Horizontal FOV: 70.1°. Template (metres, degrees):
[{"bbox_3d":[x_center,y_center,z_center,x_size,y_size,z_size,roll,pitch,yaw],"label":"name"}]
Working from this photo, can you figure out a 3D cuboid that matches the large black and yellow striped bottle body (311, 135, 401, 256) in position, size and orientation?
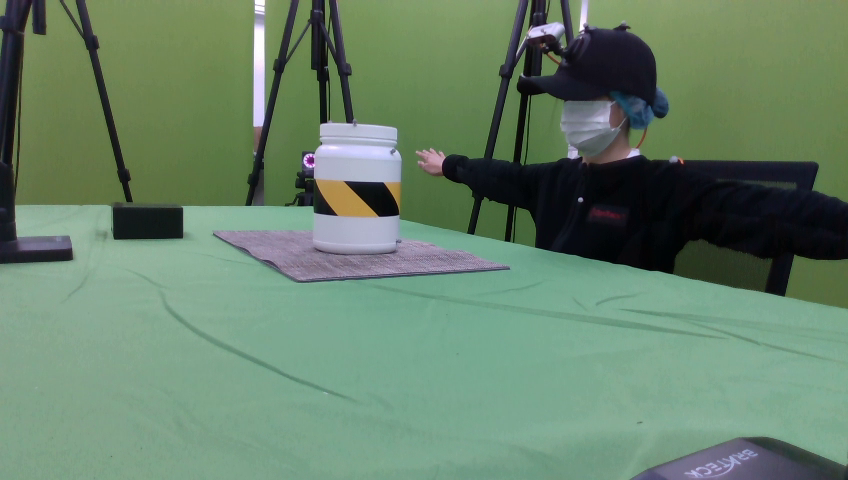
[{"bbox_3d":[-0.101,-0.075,0.904,0.131,0.184,0.130,3,7,0],"label":"large black and yellow striped bottle body"}]

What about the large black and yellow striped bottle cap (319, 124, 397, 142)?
[{"bbox_3d":[-0.098,-0.158,0.895,0.115,0.019,0.115,5,7,0],"label":"large black and yellow striped bottle cap"}]
